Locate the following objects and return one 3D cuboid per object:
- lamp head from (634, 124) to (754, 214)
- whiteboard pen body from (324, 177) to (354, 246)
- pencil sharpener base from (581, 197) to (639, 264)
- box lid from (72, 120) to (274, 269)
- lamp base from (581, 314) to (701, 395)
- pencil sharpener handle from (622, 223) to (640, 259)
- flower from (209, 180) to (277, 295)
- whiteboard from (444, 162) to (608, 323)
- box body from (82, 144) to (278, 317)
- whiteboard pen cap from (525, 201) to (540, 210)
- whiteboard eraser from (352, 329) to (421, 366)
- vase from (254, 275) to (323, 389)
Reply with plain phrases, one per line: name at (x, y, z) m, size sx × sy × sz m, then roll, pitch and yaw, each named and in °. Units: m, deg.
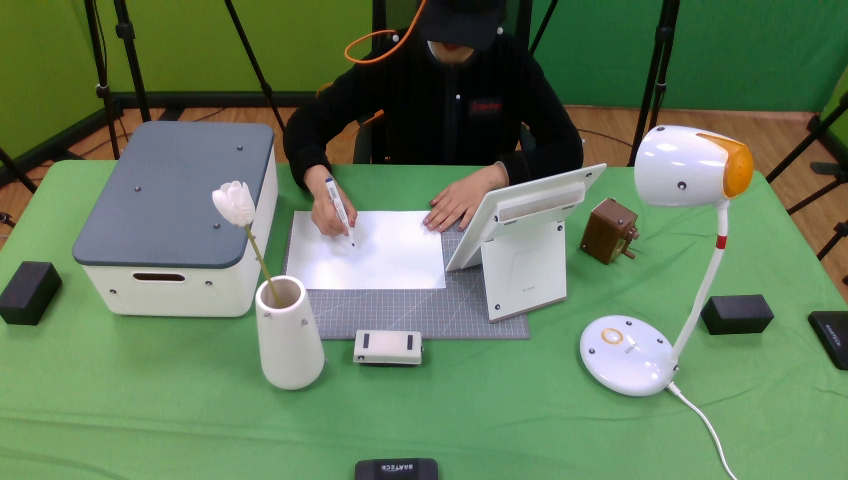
lamp head at (0.351, -0.089, 0.776) m, size 0.112 × 0.113 × 0.122 m, roll -30°, pitch 30°, yaw -28°
whiteboard pen body at (-0.158, -0.052, 1.144) m, size 0.017 × 0.141 × 0.017 m, roll -18°, pitch 15°, yaw 5°
pencil sharpener base at (0.362, -0.017, 1.179) m, size 0.076 × 0.107 × 0.061 m, roll 37°, pitch 54°, yaw 27°
box lid at (-0.417, -0.094, 1.056) m, size 0.263 × 0.015 × 0.369 m, roll 1°, pitch 47°, yaw -3°
lamp base at (0.361, 0.144, 0.973) m, size 0.178 × 0.181 × 0.160 m, roll 34°, pitch 53°, yaw 23°
pencil sharpener handle at (0.397, 0.003, 1.146) m, size 0.030 × 0.068 × 0.036 m, roll 37°, pitch 46°, yaw 27°
flower at (-0.217, 0.075, 0.871) m, size 0.044 × 0.363 × 0.038 m, roll -29°, pitch 36°, yaw -19°
whiteboard at (0.186, 0.025, 1.029) m, size 0.217 × 0.306 × 0.143 m, roll -14°, pitch 68°, yaw -17°
box body at (-0.421, -0.041, 1.108) m, size 0.254 × 0.161 × 0.361 m, roll 2°, pitch 46°, yaw -3°
whiteboard pen cap at (0.230, -0.074, 1.289) m, size 0.033 × 0.018 × 0.018 m, roll 5°, pitch 46°, yaw 4°
whiteboard eraser at (-0.061, 0.179, 1.005) m, size 0.113 × 0.042 × 0.055 m, roll 3°, pitch 49°, yaw -3°
vase at (-0.210, 0.143, 0.921) m, size 0.098 × 0.201 × 0.097 m, roll 1°, pitch 46°, yaw -1°
